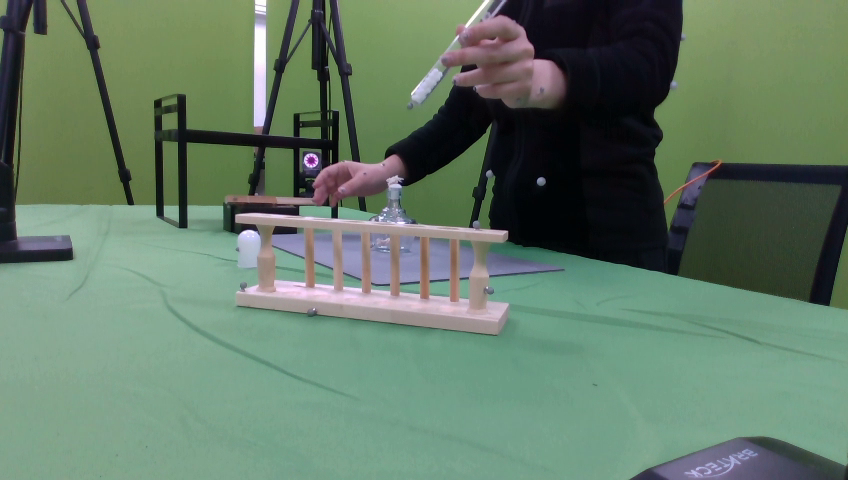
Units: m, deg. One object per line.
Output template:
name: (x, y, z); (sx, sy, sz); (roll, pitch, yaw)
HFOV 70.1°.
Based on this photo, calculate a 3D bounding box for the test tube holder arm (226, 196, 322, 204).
test tube holder arm: (-0.274, -0.074, 1.118); (0.179, 0.015, 0.013); (-2, -7, -34)

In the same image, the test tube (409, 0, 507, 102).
test tube: (0.036, -0.198, 0.609); (0.017, 0.150, 0.017); (38, 20, -16)

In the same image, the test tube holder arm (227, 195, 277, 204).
test tube holder arm: (-0.308, -0.074, 1.088); (0.088, 0.015, 0.010); (-2, -7, -35)

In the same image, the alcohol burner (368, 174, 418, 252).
alcohol burner: (-0.047, -0.041, 0.922); (0.078, 0.119, 0.078); (1, 10, 0)

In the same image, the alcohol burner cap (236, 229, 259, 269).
alcohol burner cap: (-0.221, 0.010, 0.759); (0.034, 0.048, 0.034); (-1, 12, 0)

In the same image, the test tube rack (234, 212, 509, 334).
test tube rack: (-0.047, 0.023, 0.547); (0.242, 0.085, 0.067); (4, 8, 15)
